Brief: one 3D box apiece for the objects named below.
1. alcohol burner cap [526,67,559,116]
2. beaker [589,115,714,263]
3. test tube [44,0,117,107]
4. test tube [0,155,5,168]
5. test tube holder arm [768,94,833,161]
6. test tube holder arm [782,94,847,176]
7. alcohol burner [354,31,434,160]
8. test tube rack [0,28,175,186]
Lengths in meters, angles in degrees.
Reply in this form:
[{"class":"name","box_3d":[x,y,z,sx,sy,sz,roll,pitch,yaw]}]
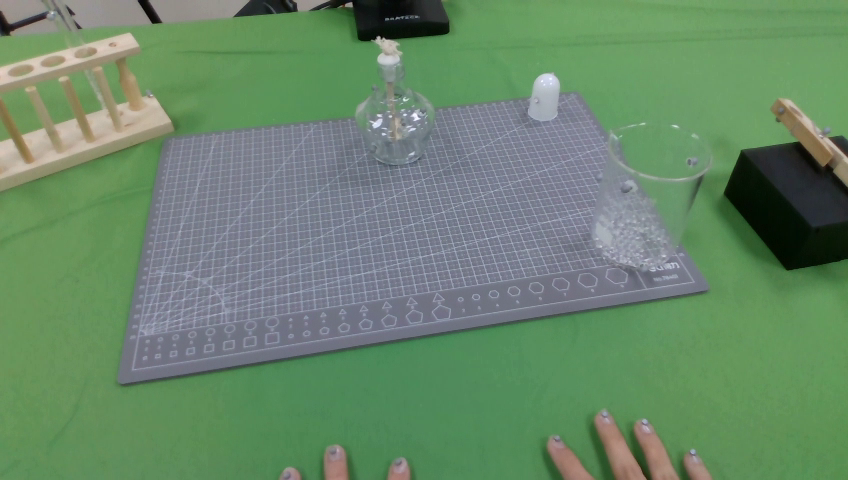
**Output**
[{"class":"alcohol burner cap","box_3d":[0.126,-0.159,0.639,0.034,0.048,0.033,0,46,1]},{"class":"beaker","box_3d":[0.172,-0.039,0.482,0.074,0.101,0.083,-31,52,-25]},{"class":"test tube","box_3d":[-0.334,-0.191,0.581,0.017,0.151,0.017,-2,48,3]},{"class":"test tube","box_3d":[-0.409,-0.123,0.523,0.017,0.152,0.017,-1,45,2]},{"class":"test tube holder arm","box_3d":[0.332,-0.100,0.532,0.010,0.015,0.087,-4,45,-9]},{"class":"test tube holder arm","box_3d":[0.345,-0.069,0.502,0.013,0.015,0.176,-5,45,-10]},{"class":"alcohol burner","box_3d":[-0.029,-0.137,0.570,0.078,0.120,0.077,-2,45,2]},{"class":"test tube rack","box_3d":[-0.381,-0.119,0.581,0.242,0.086,0.066,-26,51,-23]}]
